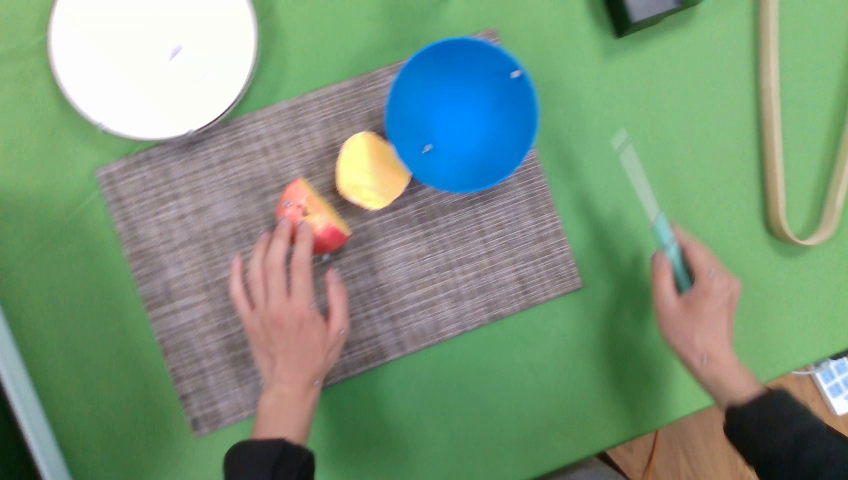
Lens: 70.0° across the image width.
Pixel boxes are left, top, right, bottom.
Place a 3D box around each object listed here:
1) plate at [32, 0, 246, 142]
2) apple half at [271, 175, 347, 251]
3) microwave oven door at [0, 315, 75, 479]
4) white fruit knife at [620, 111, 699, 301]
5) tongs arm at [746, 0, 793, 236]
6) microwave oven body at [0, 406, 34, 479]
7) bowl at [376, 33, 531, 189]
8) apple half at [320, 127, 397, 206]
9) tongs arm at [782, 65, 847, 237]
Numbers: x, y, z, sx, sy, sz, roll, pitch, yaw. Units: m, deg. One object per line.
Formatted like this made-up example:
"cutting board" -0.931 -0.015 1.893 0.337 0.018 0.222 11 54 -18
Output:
"plate" -0.287 -0.203 0.625 0.208 0.039 0.207 0 91 -4
"apple half" -0.123 -0.020 0.616 0.053 0.074 0.081 -43 89 4
"microwave oven door" -0.401 0.177 0.505 0.039 0.243 0.356 -23 92 -3
"white fruit knife" 0.232 -0.030 0.602 0.016 0.027 0.208 -23 98 6
"tongs arm" 0.377 -0.196 0.670 0.028 0.027 0.387 -5 92 -6
"microwave oven body" -0.553 0.194 0.501 0.326 0.260 0.442 -23 93 -4
"bowl" 0.027 -0.124 0.621 0.151 0.077 0.151 0 91 -3
"apple half" -0.070 -0.075 0.634 0.081 0.032 0.081 -1 99 -5
"tongs arm" 0.459 -0.190 0.672 0.051 0.026 0.384 9 92 -3
